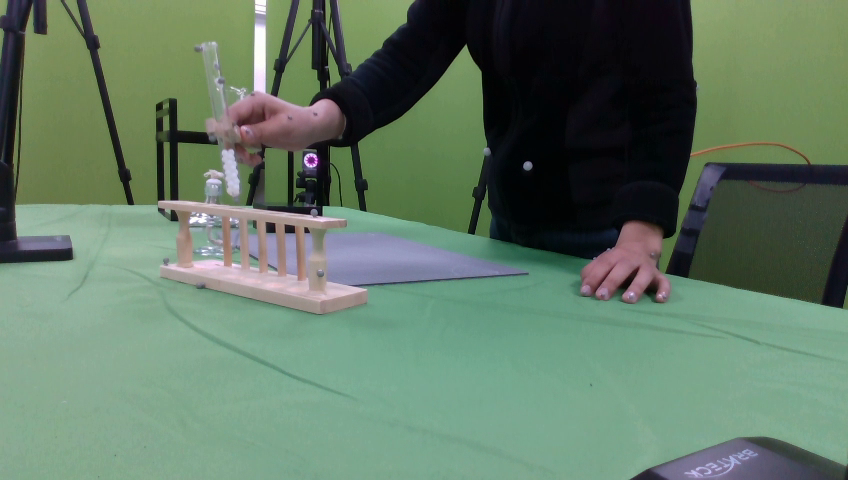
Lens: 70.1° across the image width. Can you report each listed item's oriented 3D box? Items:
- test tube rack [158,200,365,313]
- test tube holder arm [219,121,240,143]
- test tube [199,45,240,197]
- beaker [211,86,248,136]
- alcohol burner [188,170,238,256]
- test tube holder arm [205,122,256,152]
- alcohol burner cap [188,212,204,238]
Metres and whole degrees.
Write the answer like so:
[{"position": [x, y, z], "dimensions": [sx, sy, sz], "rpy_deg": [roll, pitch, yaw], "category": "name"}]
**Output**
[{"position": [-0.174, 0.009, 0.624], "dimensions": [0.241, 0.085, 0.067], "rpy_deg": [7, 9, 34], "category": "test tube rack"}, {"position": [-0.201, -0.111, 0.628], "dimensions": [0.010, 0.015, 0.087], "rpy_deg": [-3, 3, -11], "category": "test tube holder arm"}, {"position": [-0.203, -0.117, 0.604], "dimensions": [0.017, 0.150, 0.017], "rpy_deg": [-8, 7, 1], "category": "test tube"}, {"position": [-0.414, -0.274, 1.297], "dimensions": [0.074, 0.100, 0.083], "rpy_deg": [-5, 11, -44], "category": "beaker"}, {"position": [-0.297, -0.038, 0.850], "dimensions": [0.078, 0.119, 0.078], "rpy_deg": [2, 6, 0], "category": "alcohol burner"}, {"position": [-0.212, -0.113, 0.672], "dimensions": [0.013, 0.015, 0.178], "rpy_deg": [-3, 3, -4], "category": "test tube holder arm"}, {"position": [-0.390, -0.029, 1.025], "dimensions": [0.034, 0.048, 0.034], "rpy_deg": [3, 9, 0], "category": "alcohol burner cap"}]
